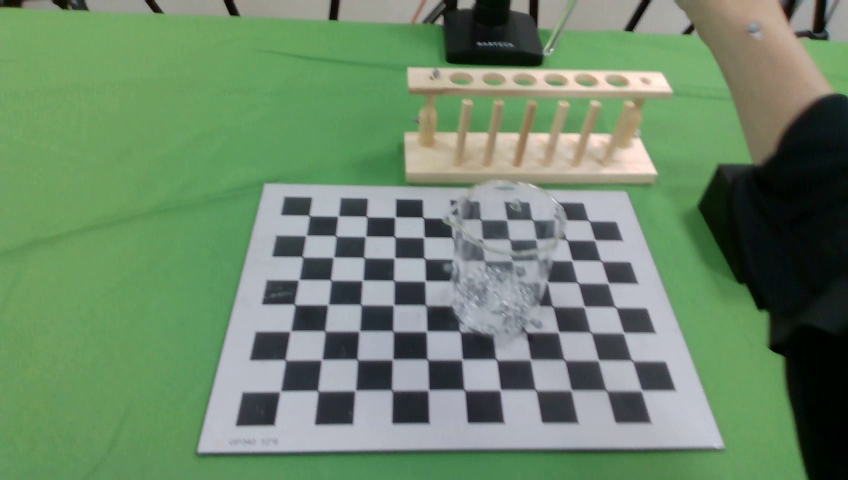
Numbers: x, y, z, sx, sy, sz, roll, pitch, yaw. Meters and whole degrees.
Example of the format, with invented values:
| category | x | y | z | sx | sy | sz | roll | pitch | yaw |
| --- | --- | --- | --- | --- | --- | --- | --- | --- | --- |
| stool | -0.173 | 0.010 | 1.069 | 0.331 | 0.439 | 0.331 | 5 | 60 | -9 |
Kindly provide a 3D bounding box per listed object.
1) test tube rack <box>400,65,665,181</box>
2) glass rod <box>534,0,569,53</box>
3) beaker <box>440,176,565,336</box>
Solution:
| category | x | y | z | sx | sy | sz | roll | pitch | yaw |
| --- | --- | --- | --- | --- | --- | --- | --- | --- | --- |
| test tube rack | 0.100 | -0.110 | 0.577 | 0.243 | 0.086 | 0.066 | 0 | 46 | -5 |
| glass rod | 0.111 | -0.196 | 0.363 | 0.008 | 0.201 | 0.008 | 11 | 51 | -13 |
| beaker | 0.051 | 0.016 | 0.437 | 0.084 | 0.101 | 0.073 | 1 | 46 | -3 |
